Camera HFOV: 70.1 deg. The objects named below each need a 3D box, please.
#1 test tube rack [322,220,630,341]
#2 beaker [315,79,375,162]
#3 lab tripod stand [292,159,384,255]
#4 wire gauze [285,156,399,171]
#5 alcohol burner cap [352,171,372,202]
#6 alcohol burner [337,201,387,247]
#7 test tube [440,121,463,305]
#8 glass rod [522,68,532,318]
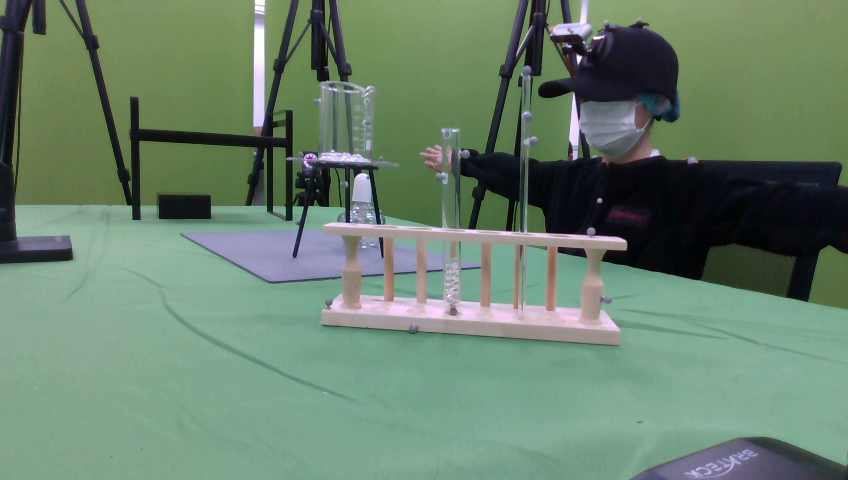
[{"bbox_3d":[0.041,0.029,0.512,0.242,0.085,0.067,3,7,5],"label":"test tube rack"},{"bbox_3d":[-0.100,-0.151,0.778,0.074,0.100,0.083,-3,8,-38],"label":"beaker"},{"bbox_3d":[-0.105,-0.039,0.797,0.148,0.131,0.148,2,5,0],"label":"lab tripod stand"},{"bbox_3d":[-0.102,-0.103,0.787,0.121,0.011,0.125,5,4,6],"label":"wire gauze"},{"bbox_3d":[-0.096,-0.084,0.951,0.034,0.048,0.034,6,5,0],"label":"alcohol burner cap"},{"bbox_3d":[-0.098,-0.049,0.954,0.078,0.119,0.078,0,6,0],"label":"alcohol burner"},{"bbox_3d":[0.023,-0.019,0.487,0.017,0.150,0.017,-2,14,1],"label":"test tube"},{"bbox_3d":[0.080,-0.031,0.473,0.008,0.199,0.008,-2,14,1],"label":"glass rod"}]
